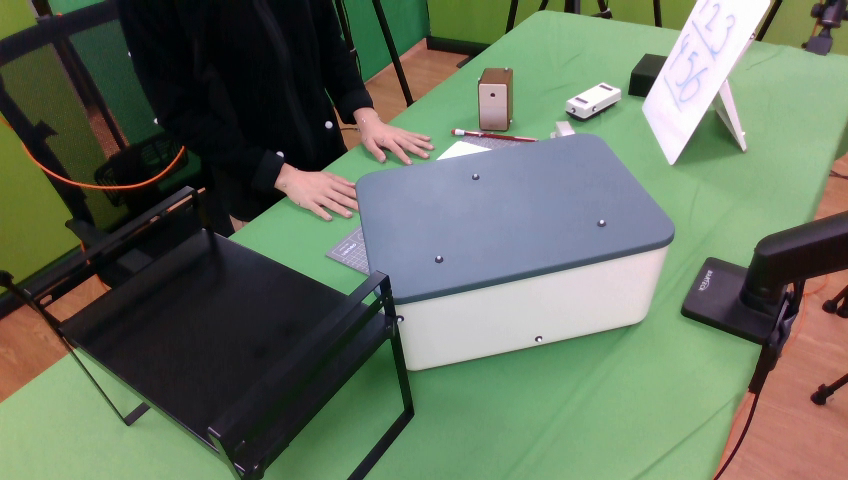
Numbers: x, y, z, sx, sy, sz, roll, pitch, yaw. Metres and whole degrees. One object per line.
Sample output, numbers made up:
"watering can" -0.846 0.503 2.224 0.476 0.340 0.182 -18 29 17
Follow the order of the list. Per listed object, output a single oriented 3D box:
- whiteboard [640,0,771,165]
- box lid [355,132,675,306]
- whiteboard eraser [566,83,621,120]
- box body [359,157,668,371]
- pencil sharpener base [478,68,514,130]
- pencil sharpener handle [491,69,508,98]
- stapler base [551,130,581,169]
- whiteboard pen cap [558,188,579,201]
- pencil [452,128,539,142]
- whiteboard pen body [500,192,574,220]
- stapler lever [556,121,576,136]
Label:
"whiteboard" 0.543 -0.299 1.076 0.144 0.305 0.216 12 40 -7
"box lid" 0.103 -0.042 0.785 0.372 0.015 0.261 -12 41 -5
"whiteboard eraser" 0.348 -0.283 1.242 0.113 0.042 0.055 -30 43 -24
"box body" 0.108 0.014 0.833 0.365 0.161 0.252 -11 41 -5
"pencil sharpener base" 0.148 -0.286 1.224 0.061 0.107 0.076 5 41 15
"pencil sharpener handle" 0.155 -0.329 1.254 0.036 0.068 0.030 17 43 4
"stapler base" 0.268 -0.178 1.142 0.041 0.024 0.130 1 37 3
"whiteboard pen cap" 0.245 -0.077 1.028 0.033 0.018 0.018 -18 42 -15
"pencil" 0.147 -0.207 1.205 0.193 0.012 0.012 10 43 19
"whiteboard pen body" 0.191 -0.059 1.011 0.141 0.017 0.017 -18 41 -16
"stapler lever" 0.266 -0.198 1.128 0.027 0.040 0.117 0 38 3
